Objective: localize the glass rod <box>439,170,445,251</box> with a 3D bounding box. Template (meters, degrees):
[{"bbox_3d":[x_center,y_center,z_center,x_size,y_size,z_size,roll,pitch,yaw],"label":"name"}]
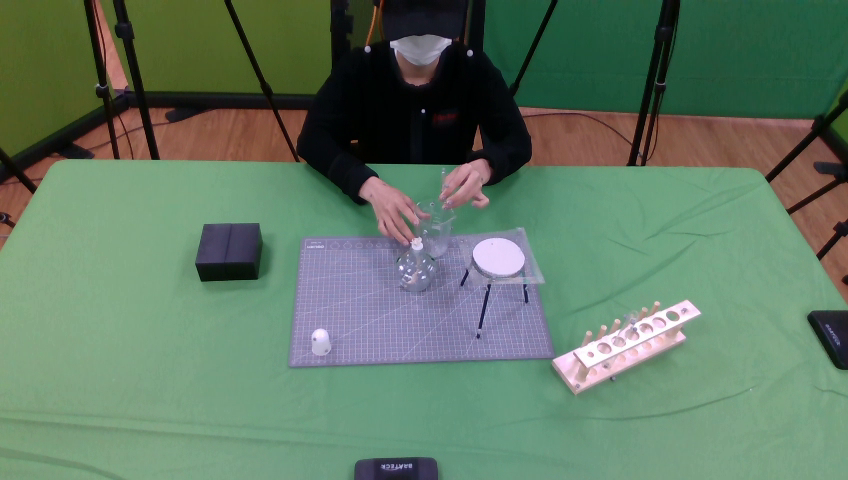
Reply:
[{"bbox_3d":[0.033,-0.049,1.118,0.008,0.201,0.008,0,45,0],"label":"glass rod"}]

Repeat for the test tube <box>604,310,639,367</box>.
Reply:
[{"bbox_3d":[0.310,0.158,0.957,0.017,0.151,0.017,1,49,-1],"label":"test tube"}]

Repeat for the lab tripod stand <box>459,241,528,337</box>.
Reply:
[{"bbox_3d":[0.122,0.075,1.054,0.148,0.132,0.147,3,44,-3],"label":"lab tripod stand"}]

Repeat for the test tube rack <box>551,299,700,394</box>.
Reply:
[{"bbox_3d":[0.339,0.166,1.021,0.242,0.085,0.066,-19,50,-21],"label":"test tube rack"}]

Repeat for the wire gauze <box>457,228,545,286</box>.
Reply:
[{"bbox_3d":[0.126,0.029,1.006,0.125,0.011,0.120,-4,46,-10],"label":"wire gauze"}]

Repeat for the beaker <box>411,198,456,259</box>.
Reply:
[{"bbox_3d":[0.016,-0.019,1.161,0.084,0.101,0.073,6,46,1],"label":"beaker"}]

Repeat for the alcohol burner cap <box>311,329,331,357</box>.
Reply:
[{"bbox_3d":[-0.173,0.168,1.004,0.034,0.048,0.033,2,46,-2],"label":"alcohol burner cap"}]

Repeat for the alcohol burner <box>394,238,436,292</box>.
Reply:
[{"bbox_3d":[-0.016,0.038,1.093,0.078,0.119,0.077,2,48,-2],"label":"alcohol burner"}]
